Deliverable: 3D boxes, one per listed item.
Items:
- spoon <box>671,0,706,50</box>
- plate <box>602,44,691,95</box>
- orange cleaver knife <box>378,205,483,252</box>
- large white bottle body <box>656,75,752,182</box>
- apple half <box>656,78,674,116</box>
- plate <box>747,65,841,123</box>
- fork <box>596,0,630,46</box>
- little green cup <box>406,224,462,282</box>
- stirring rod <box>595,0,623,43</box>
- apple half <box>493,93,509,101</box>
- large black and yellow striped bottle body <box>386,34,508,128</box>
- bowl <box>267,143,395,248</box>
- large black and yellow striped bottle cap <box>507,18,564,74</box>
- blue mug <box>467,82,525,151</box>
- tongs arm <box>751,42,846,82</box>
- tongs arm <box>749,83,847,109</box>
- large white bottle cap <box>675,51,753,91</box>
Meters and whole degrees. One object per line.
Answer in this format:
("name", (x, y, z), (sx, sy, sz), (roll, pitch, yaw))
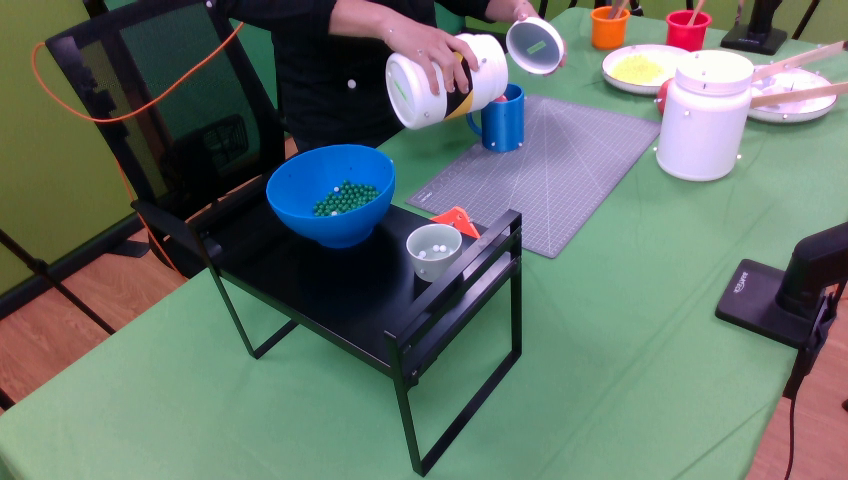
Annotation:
("spoon", (0.629, -0.520, 1.394), (0.041, 0.022, 0.193), (30, 96, 34))
("plate", (0.495, -0.367, 1.317), (0.209, 0.038, 0.208), (-4, 40, 4))
("orange cleaver knife", (0.005, -0.010, 0.943), (0.210, 0.077, 0.012), (-5, 23, 47))
("large white bottle body", (0.472, -0.207, 1.022), (0.130, 0.185, 0.130), (-4, 41, 4))
("apple half", (0.488, -0.281, 1.192), (0.053, 0.075, 0.081), (24, 54, 37))
("plate", (0.694, -0.282, 1.189), (0.207, 0.039, 0.206), (-4, 40, 4))
("fork", (0.481, -0.556, 1.452), (0.028, 0.019, 0.207), (40, 103, 40))
("little green cup", (0.013, 0.015, 0.668), (0.061, 0.039, 0.061), (-4, 40, 4))
("stirring rod", (0.460, -0.556, 1.459), (0.014, 0.006, 0.176), (30, 93, 23))
("apple half", (0.141, -0.239, 1.158), (0.033, 0.081, 0.080), (-13, 40, -17))
("large black and yellow striped bottle body", (0.041, -0.280, 1.050), (0.185, 0.131, 0.129), (-21, 42, -18))
("bowl", (-0.104, -0.043, 0.726), (0.151, 0.077, 0.150), (-4, 41, 4))
("large black and yellow striped bottle cap", (0.213, -0.371, 1.158), (0.114, 0.116, 0.019), (21, 61, 30))
("blue mug", (0.138, -0.241, 1.169), (0.116, 0.106, 0.082), (11, 44, 21))
("tongs arm", (0.708, -0.331, 1.193), (0.386, 0.026, 0.050), (-18, 45, -16))
("tongs arm", (0.734, -0.280, 1.133), (0.388, 0.028, 0.028), (-9, 47, -5))
("large white bottle cap", (0.463, -0.271, 0.967), (0.115, 0.018, 0.114), (-4, 40, 4))
